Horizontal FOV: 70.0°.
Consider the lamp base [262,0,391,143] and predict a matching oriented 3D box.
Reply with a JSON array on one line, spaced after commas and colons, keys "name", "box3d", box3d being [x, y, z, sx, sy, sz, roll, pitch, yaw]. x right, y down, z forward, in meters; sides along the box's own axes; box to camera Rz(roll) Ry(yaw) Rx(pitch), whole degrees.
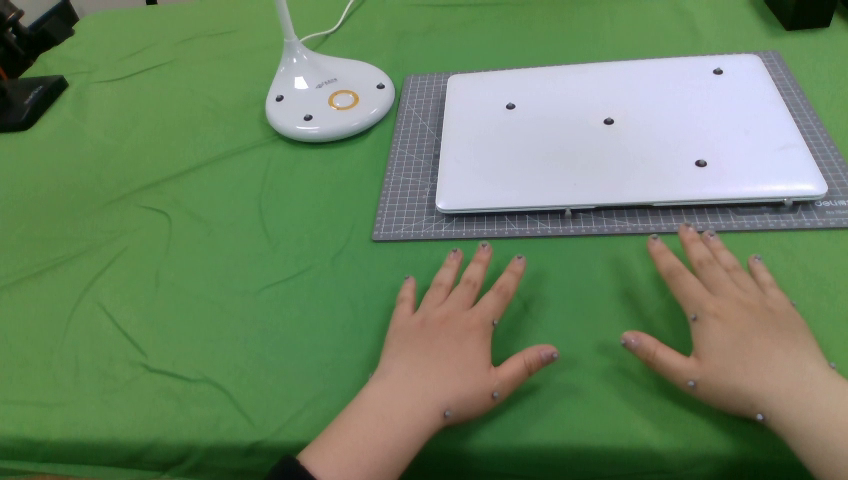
[{"name": "lamp base", "box3d": [-0.138, -0.229, 0.700, 0.177, 0.182, 0.160, 30, 57, 36]}]

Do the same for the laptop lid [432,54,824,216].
[{"name": "laptop lid", "box3d": [0.189, -0.117, 0.629, 0.356, 0.013, 0.239, -1, 48, 9]}]

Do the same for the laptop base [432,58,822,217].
[{"name": "laptop base", "box3d": [0.190, -0.110, 0.639, 0.354, 0.023, 0.233, -2, 49, 8]}]
